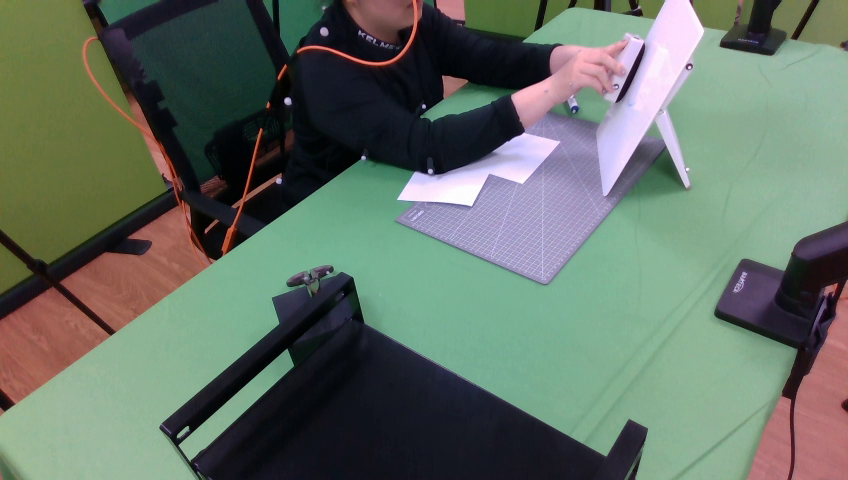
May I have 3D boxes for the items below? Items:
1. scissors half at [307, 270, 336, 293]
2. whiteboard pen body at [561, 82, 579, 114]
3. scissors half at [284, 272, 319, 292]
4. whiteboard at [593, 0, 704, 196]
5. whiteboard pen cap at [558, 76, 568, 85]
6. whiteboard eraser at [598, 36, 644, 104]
[{"bbox_3d":[-0.152,0.060,0.872,0.040,0.013,0.175,-6,6,-3],"label":"scissors half"},{"bbox_3d":[0.311,-0.311,1.298,0.017,0.017,0.140,-5,41,3],"label":"whiteboard pen body"},{"bbox_3d":[-0.172,0.063,0.868,0.040,0.013,0.174,-13,8,-21],"label":"scissors half"},{"bbox_3d":[0.421,-0.227,1.010,0.144,0.305,0.216,17,41,-3],"label":"whiteboard"},{"bbox_3d":[0.310,-0.350,1.340,0.018,0.018,0.033,-6,40,2],"label":"whiteboard pen cap"},{"bbox_3d":[0.349,-0.298,1.065,0.042,0.112,0.055,18,28,-2],"label":"whiteboard eraser"}]
